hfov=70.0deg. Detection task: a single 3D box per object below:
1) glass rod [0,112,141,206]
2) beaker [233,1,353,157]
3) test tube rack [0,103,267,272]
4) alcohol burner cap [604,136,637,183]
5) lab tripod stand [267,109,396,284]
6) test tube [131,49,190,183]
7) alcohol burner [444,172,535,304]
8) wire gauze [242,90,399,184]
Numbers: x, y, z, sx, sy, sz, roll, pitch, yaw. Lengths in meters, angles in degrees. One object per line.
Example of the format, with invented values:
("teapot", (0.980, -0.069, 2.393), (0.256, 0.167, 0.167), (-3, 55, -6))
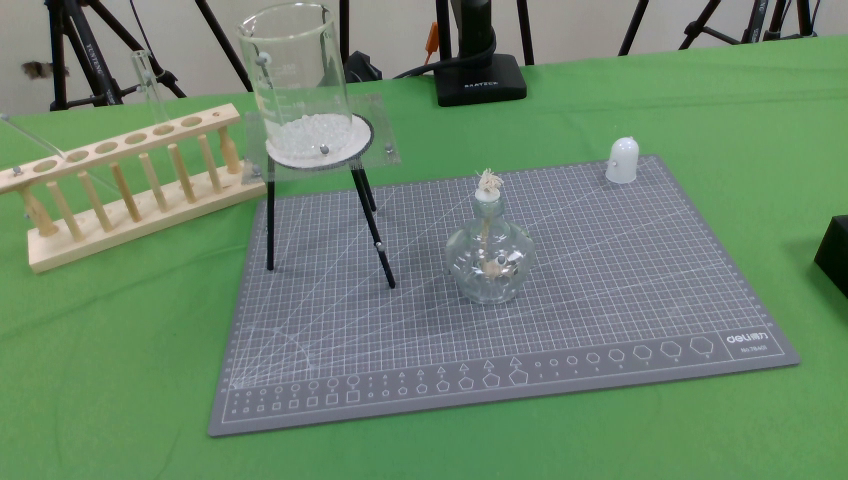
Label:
("glass rod", (-0.363, -0.087, 0.593), (0.008, 0.202, 0.008), (-19, 50, 25))
("beaker", (-0.099, -0.123, 0.472), (0.083, 0.101, 0.073), (14, 44, 23))
("test tube rack", (-0.301, -0.060, 0.640), (0.243, 0.086, 0.066), (-22, 43, -19))
("alcohol burner cap", (0.210, -0.088, 0.644), (0.034, 0.048, 0.033), (-3, 40, 3))
("lab tripod stand", (-0.084, -0.038, 0.548), (0.148, 0.133, 0.147), (-4, 42, 4))
("test tube", (-0.274, -0.125, 0.636), (0.017, 0.151, 0.017), (-3, 38, 2))
("alcohol burner", (0.055, -0.005, 0.509), (0.078, 0.120, 0.077), (-4, 39, 3))
("wire gauze", (-0.090, -0.087, 0.505), (0.125, 0.011, 0.120), (-12, 39, -3))
